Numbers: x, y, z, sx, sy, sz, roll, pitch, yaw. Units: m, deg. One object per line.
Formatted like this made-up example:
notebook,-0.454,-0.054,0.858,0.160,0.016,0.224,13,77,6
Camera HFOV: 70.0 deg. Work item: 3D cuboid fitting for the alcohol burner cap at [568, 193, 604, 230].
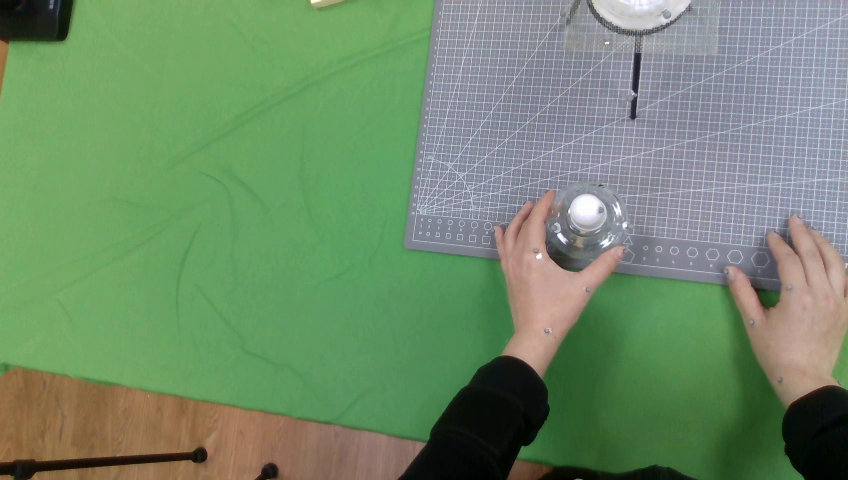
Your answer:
alcohol burner cap,0.143,-0.027,0.538,0.034,0.048,0.034,-1,85,17

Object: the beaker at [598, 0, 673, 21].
beaker,0.164,-0.221,0.462,0.083,0.101,0.074,20,89,16

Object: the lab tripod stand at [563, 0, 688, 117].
lab tripod stand,0.196,-0.206,0.571,0.148,0.132,0.148,-1,85,12

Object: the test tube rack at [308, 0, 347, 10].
test tube rack,-0.033,-0.337,0.669,0.242,0.085,0.066,-11,81,12

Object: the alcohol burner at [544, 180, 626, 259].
alcohol burner,0.152,-0.022,0.573,0.078,0.119,0.077,-1,83,12

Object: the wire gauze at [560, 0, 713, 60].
wire gauze,0.180,-0.214,0.507,0.125,0.011,0.121,6,89,12
